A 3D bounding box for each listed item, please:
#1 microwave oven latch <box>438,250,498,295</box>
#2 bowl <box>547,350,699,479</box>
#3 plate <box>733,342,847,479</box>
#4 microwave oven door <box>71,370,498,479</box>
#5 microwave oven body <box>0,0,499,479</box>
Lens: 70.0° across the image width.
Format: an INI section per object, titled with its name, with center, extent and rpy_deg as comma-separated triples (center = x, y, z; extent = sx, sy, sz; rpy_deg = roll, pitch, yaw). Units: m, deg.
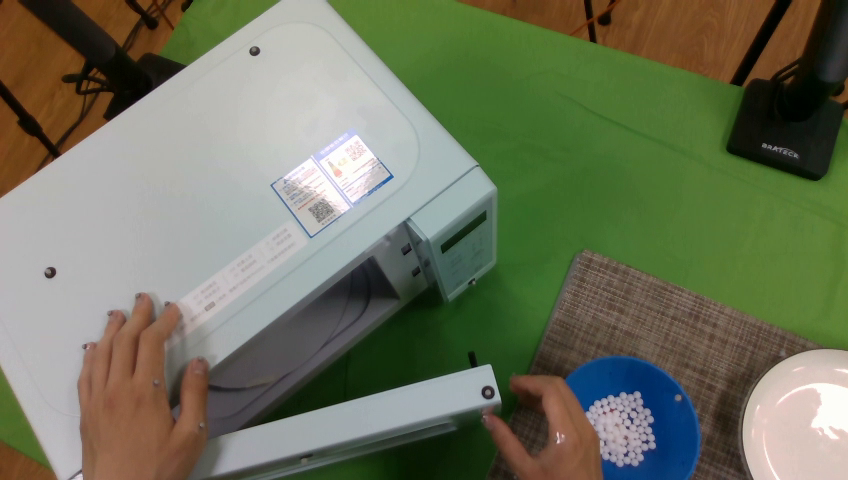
[microwave oven latch]
center = 0.053, 0.031, 0.731
extent = 0.079, 0.030, 0.030
rpy_deg = -36, 72, -5
[bowl]
center = 0.206, 0.199, 0.654
extent = 0.151, 0.077, 0.150
rpy_deg = -2, 72, 6
[plate]
center = 0.436, 0.215, 0.645
extent = 0.207, 0.039, 0.206
rpy_deg = -2, 72, 5
[microwave oven door]
center = -0.103, 0.190, 0.588
extent = 0.356, 0.245, 0.039
rpy_deg = -15, 71, 1
[microwave oven body]
center = -0.187, 0.002, 0.664
extent = 0.441, 0.262, 0.324
rpy_deg = -38, 73, -6
